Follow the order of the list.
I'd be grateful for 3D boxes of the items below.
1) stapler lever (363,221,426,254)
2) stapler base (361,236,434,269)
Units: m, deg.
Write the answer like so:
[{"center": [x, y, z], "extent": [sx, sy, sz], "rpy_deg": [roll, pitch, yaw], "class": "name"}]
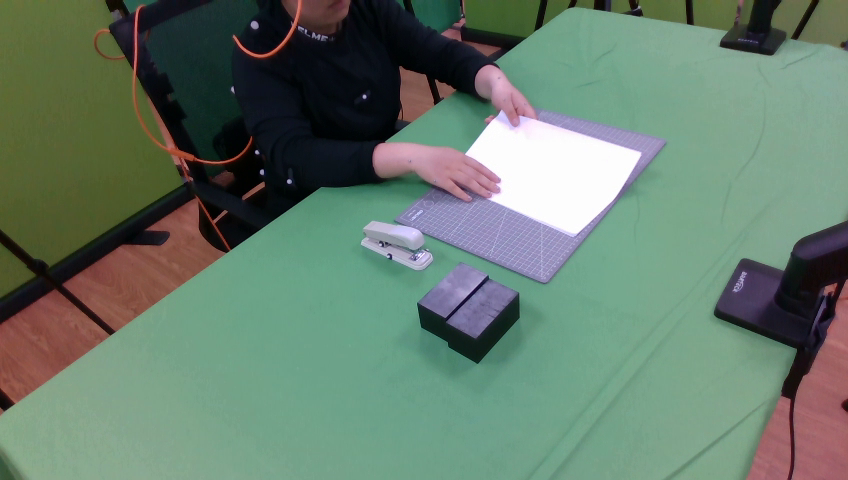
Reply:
[{"center": [-0.048, -0.011, 0.958], "extent": [0.117, 0.040, 0.027], "rpy_deg": [21, 46, 32], "class": "stapler lever"}, {"center": [-0.044, 0.009, 0.974], "extent": [0.129, 0.024, 0.041], "rpy_deg": [21, 46, 32], "class": "stapler base"}]
